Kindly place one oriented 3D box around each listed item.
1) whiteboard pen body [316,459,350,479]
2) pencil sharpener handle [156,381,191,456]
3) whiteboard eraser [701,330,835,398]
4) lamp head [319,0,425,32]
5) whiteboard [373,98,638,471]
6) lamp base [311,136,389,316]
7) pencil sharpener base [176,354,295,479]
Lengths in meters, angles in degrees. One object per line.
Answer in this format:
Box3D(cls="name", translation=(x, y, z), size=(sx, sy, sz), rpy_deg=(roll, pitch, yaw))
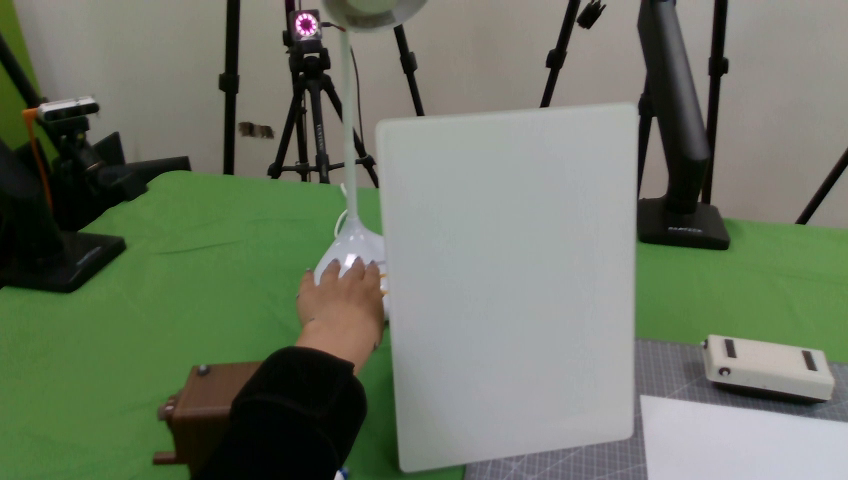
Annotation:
Box3D(cls="whiteboard pen body", translation=(-0.110, 0.223, 0.479), size=(0.017, 0.017, 0.141), rpy_deg=(20, 35, 30))
Box3D(cls="pencil sharpener handle", translation=(-0.207, 0.148, 0.495), size=(0.031, 0.068, 0.035), rpy_deg=(-3, 19, -2))
Box3D(cls="whiteboard eraser", translation=(0.342, 0.125, 0.609), size=(0.112, 0.042, 0.055), rpy_deg=(8, 33, 14))
Box3D(cls="lamp head", translation=(-0.059, -0.266, 0.545), size=(0.113, 0.113, 0.121), rpy_deg=(-14, 59, -21))
Box3D(cls="whiteboard", translation=(0.069, 0.030, 0.576), size=(0.217, 0.306, 0.143), rpy_deg=(-6, 12, -7))
Box3D(cls="lamp base", translation=(-0.070, -0.026, 0.736), size=(0.161, 0.181, 0.177), rpy_deg=(-21, 34, -30))
Box3D(cls="pencil sharpener base", translation=(-0.156, 0.155, 0.507), size=(0.077, 0.108, 0.061), rpy_deg=(-3, 32, -3))
